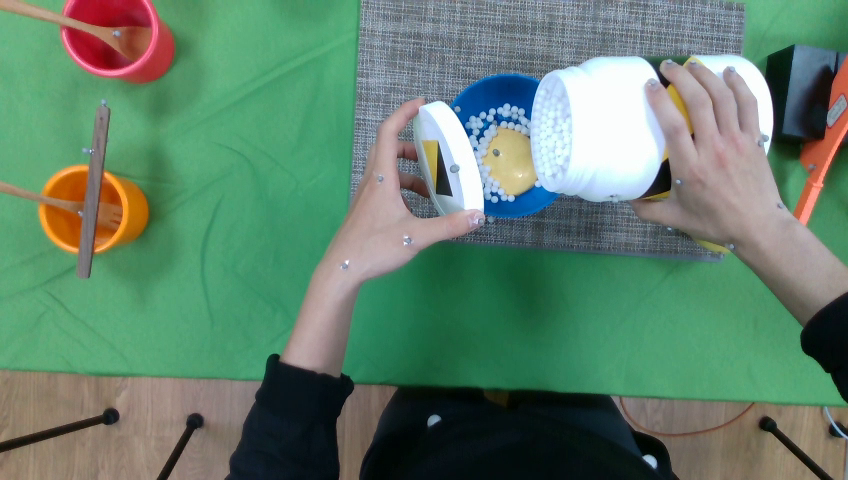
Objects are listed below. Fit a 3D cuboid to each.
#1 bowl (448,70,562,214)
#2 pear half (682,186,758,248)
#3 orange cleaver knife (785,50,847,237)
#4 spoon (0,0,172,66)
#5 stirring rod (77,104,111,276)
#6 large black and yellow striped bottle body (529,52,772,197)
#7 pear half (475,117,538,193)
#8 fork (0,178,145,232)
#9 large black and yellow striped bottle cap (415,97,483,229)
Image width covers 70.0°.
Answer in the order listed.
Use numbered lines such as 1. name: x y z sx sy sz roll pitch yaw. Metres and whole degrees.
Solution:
1. bowl: 0.085 -0.103 0.668 0.151 0.076 0.151 0 93 -3
2. pear half: 0.326 -0.027 0.671 0.056 0.110 0.076 -16 90 -1
3. orange cleaver knife: 0.451 -0.106 0.690 0.012 0.076 0.213 6 121 2
4. spoon: -0.354 -0.219 0.609 0.195 0.021 0.041 7 95 -47
5. stirring rod: -0.335 -0.050 0.615 0.014 0.006 0.176 8 93 -6
6. large black and yellow striped bottle body: 0.203 -0.107 0.566 0.184 0.130 0.131 -4 93 -11
7. pear half: 0.091 -0.097 0.663 0.070 0.031 0.088 -24 90 -2
8. fork: -0.388 -0.046 0.614 0.209 0.018 0.028 22 102 -47
9. large black and yellow striped bottle cap: 0.020 -0.065 0.527 0.019 0.114 0.115 -18 94 -13
